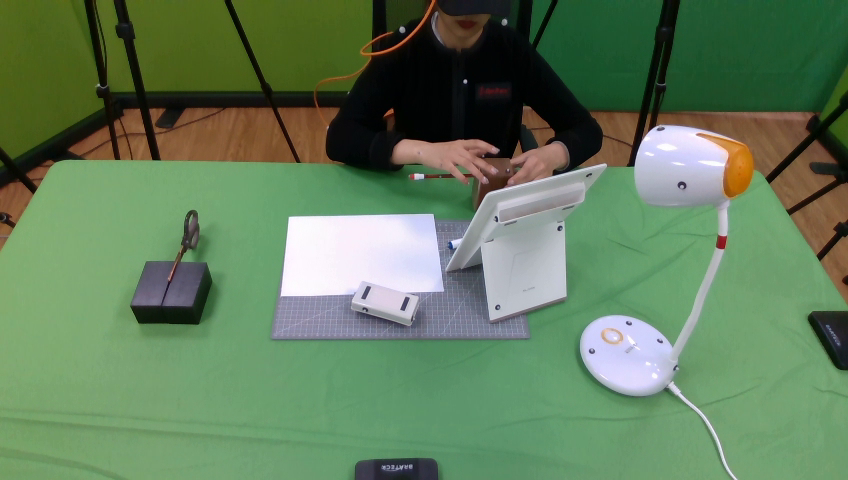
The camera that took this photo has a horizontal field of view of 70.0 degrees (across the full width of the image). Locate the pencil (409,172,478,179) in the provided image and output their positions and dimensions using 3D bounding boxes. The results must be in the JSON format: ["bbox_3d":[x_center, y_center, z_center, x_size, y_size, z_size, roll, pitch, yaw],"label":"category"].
[{"bbox_3d":[0.066,-0.133,1.233,0.194,0.012,0.012,-2,46,-6],"label":"pencil"}]

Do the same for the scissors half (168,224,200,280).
[{"bbox_3d":[-0.440,0.023,1.111,0.013,0.040,0.174,7,29,-6],"label":"scissors half"}]

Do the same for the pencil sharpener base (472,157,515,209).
[{"bbox_3d":[0.145,-0.115,1.259,0.077,0.107,0.061,-2,46,-6],"label":"pencil sharpener base"}]

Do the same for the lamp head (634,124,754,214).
[{"bbox_3d":[0.351,-0.089,0.775,0.112,0.113,0.122,-30,30,-28],"label":"lamp head"}]

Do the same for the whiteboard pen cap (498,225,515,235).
[{"bbox_3d":[0.166,-0.019,1.223,0.033,0.018,0.018,-14,49,-18],"label":"whiteboard pen cap"}]

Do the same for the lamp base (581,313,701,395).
[{"bbox_3d":[0.361,0.144,0.972,0.178,0.181,0.160,34,53,23],"label":"lamp base"}]

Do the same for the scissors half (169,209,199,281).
[{"bbox_3d":[-0.438,0.007,1.098,0.013,0.040,0.174,3,48,-3],"label":"scissors half"}]

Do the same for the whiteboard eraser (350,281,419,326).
[{"bbox_3d":[-0.069,0.113,1.065,0.112,0.042,0.055,14,46,9],"label":"whiteboard eraser"}]

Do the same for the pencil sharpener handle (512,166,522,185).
[{"bbox_3d":[0.196,-0.128,1.258,0.031,0.068,0.036,-2,59,-6],"label":"pencil sharpener handle"}]

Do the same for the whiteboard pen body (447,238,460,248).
[{"bbox_3d":[0.112,-0.005,1.203,0.141,0.017,0.017,-13,49,-18],"label":"whiteboard pen body"}]

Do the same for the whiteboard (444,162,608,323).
[{"bbox_3d":[0.186,0.025,1.029,0.217,0.306,0.143,-14,68,-18],"label":"whiteboard"}]
